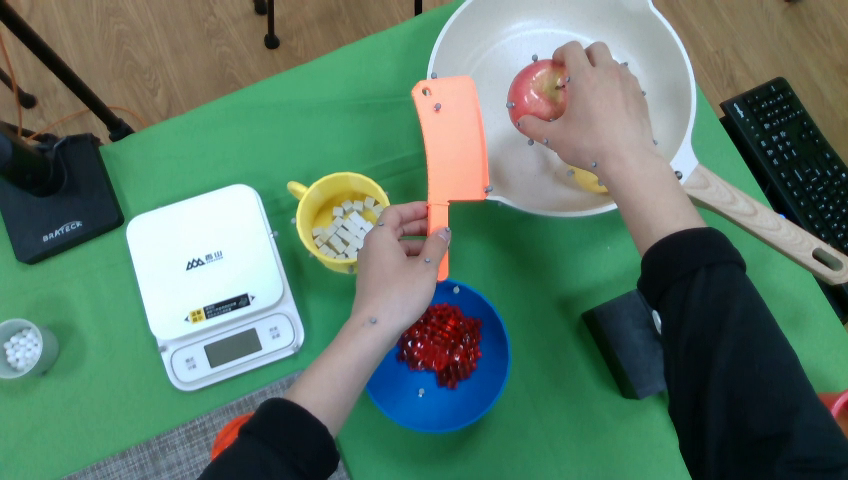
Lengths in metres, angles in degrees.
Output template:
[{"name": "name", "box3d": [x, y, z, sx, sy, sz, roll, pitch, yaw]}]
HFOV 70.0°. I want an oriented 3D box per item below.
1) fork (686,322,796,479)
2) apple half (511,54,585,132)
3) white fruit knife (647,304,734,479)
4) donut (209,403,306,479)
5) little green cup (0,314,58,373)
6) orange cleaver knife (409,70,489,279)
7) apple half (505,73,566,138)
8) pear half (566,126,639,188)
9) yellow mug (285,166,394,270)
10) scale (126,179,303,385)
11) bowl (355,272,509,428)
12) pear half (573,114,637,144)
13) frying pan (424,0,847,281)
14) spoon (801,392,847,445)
[{"name": "fork", "box3d": [0.329, 0.174, 0.619, 0.028, 0.018, 0.207, -33, 96, -10]}, {"name": "apple half", "box3d": [0.132, -0.155, 0.620, 0.080, 0.075, 0.053, 44, 83, 8]}, {"name": "white fruit knife", "box3d": [0.268, 0.158, 0.614, 0.016, 0.027, 0.207, -26, 94, -5]}, {"name": "donut", "box3d": [-0.169, 0.216, 0.614, 0.099, 0.048, 0.098, 0, 79, 1]}, {"name": "little green cup", "box3d": [-0.425, 0.111, 0.642, 0.061, 0.039, 0.061, 0, 78, 0]}, {"name": "orange cleaver knife", "box3d": [0.026, -0.067, 0.574, 0.077, 0.012, 0.210, 2, 77, -18]}, {"name": "apple half", "box3d": [0.104, -0.127, 0.616, 0.033, 0.081, 0.081, -43, 81, -9]}, {"name": "pear half", "box3d": [0.191, -0.089, 0.645, 0.076, 0.110, 0.056, 12, 79, 6]}, {"name": "yellow mug", "box3d": [-0.098, -0.031, 0.659, 0.130, 0.064, 0.100, 33, 80, 8]}, {"name": "scale", "box3d": [-0.228, 0.043, 0.660, 0.149, 0.031, 0.200, -20, 79, -4]}, {"name": "bowl", "box3d": [0.008, 0.113, 0.624, 0.151, 0.077, 0.150, 0, 78, -1]}, {"name": "pear half", "box3d": [0.200, -0.121, 0.662, 0.070, 0.088, 0.031, 14, 81, 5]}, {"name": "frying pan", "box3d": [0.226, -0.105, 0.656, 0.485, 0.103, 0.306, 37, 81, 15]}, {"name": "spoon", "box3d": [0.443, 0.215, 0.570, 0.041, 0.022, 0.191, -29, 35, -7]}]
